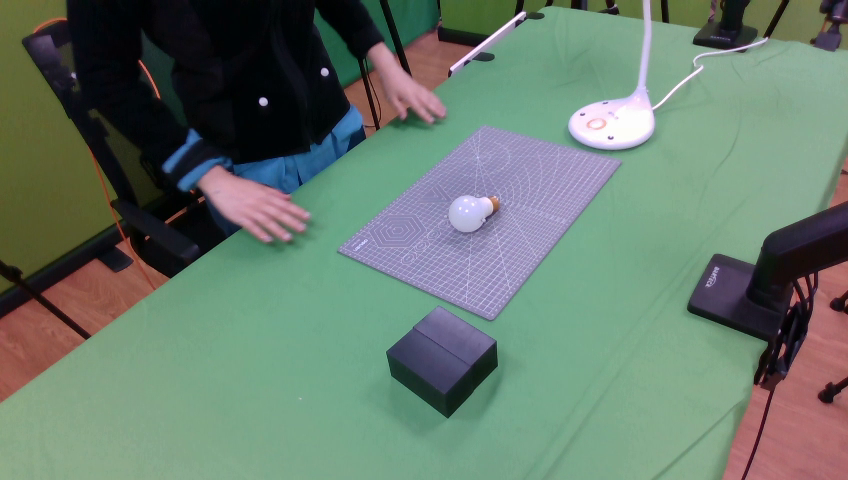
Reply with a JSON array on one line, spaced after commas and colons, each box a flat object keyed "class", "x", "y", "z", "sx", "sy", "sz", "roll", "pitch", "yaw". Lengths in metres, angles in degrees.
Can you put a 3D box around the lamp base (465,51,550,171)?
[{"class": "lamp base", "x": 0.159, "y": -0.243, "z": 1.103, "sx": 0.180, "sy": 0.181, "sz": 0.159, "roll": -32, "pitch": 46, "yaw": -29}]
